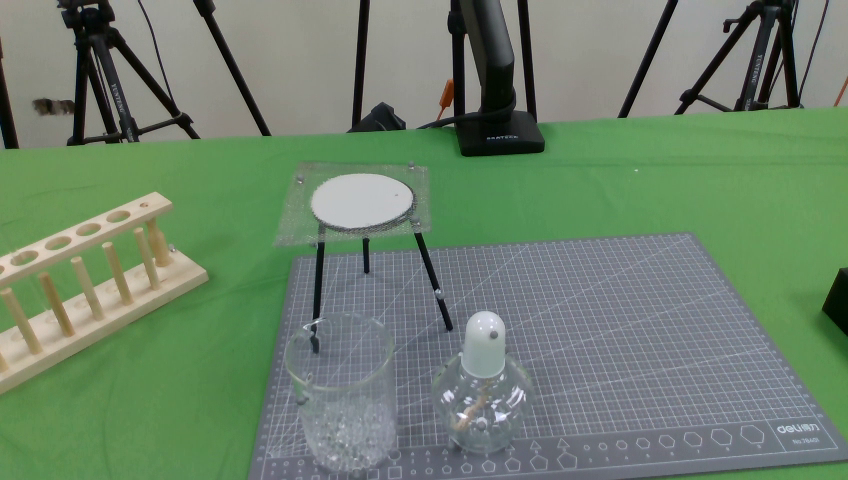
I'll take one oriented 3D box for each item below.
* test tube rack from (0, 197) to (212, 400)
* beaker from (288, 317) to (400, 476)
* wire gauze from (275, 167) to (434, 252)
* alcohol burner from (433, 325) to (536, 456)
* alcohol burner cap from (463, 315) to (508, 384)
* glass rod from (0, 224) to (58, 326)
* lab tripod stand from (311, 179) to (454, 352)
[{"bbox_3d":[-0.331,0.053,0.565,0.066,0.086,0.242,26,44,35],"label":"test tube rack"},{"bbox_3d":[-0.057,0.116,0.445,0.083,0.101,0.074,25,43,34],"label":"beaker"},{"bbox_3d":[-0.054,-0.031,0.508,0.121,0.011,0.124,-1,36,-1],"label":"wire gauze"},{"bbox_3d":[0.045,0.103,0.446,0.078,0.120,0.077,-1,37,1],"label":"alcohol burner"},{"bbox_3d":[0.045,0.074,0.425,0.034,0.048,0.033,1,37,0],"label":"alcohol burner cap"},{"bbox_3d":[-0.367,-0.001,0.529,0.008,0.201,0.008,-6,32,4],"label":"glass rod"},{"bbox_3d":[-0.043,0.022,0.549,0.148,0.132,0.147,0,34,0],"label":"lab tripod stand"}]
